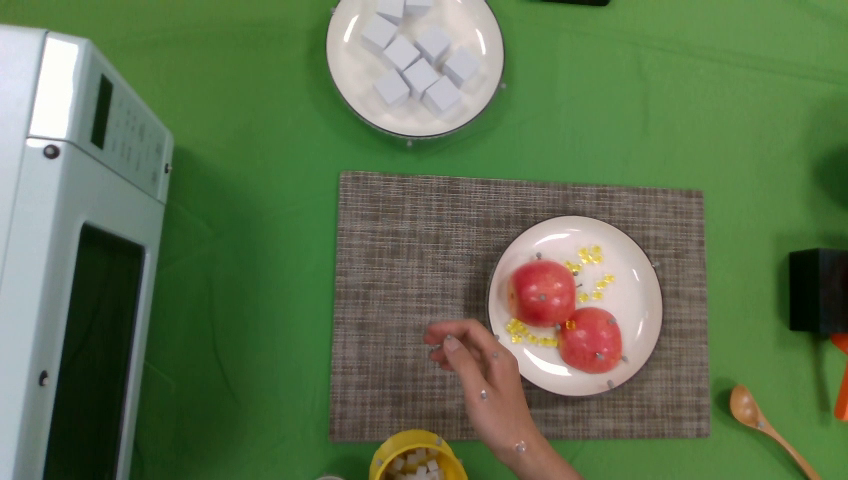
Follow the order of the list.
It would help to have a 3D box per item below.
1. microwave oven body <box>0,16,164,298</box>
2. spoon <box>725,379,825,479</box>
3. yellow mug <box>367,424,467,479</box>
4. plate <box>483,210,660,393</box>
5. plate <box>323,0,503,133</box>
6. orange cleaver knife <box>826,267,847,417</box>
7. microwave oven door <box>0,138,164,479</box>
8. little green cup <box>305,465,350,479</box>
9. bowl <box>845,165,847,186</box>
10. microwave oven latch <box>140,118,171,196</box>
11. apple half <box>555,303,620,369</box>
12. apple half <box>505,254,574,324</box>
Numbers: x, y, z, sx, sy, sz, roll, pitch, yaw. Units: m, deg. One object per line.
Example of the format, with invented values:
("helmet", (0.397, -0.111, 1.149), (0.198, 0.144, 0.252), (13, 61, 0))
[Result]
("microwave oven body", (-0.434, 0.062, 0.502), (0.327, 0.260, 0.440), (5, 84, -8))
("spoon", (0.428, 0.241, 0.730), (0.194, 0.021, 0.041), (45, 62, -1))
("yellow mug", (-0.012, 0.268, 0.641), (0.100, 0.064, 0.130), (14, 85, -7))
("plate", (0.167, 0.069, 0.700), (0.209, 0.038, 0.208), (1, 84, -8))
("plate", (-0.013, -0.223, 0.710), (0.208, 0.039, 0.207), (1, 84, -8))
("orange cleaver knife", (0.513, 0.108, 0.726), (0.012, 0.077, 0.212), (4, 107, -3))
("microwave oven door", (-0.292, 0.117, 0.511), (0.039, 0.244, 0.354), (5, 83, -7))
("little green cup", (-0.103, 0.270, 0.641), (0.061, 0.038, 0.061), (1, 85, -6))
("bowl", (0.594, -0.087, 0.761), (0.152, 0.077, 0.151), (1, 84, -8))
("microwave oven latch", (-0.287, -0.088, 0.637), (0.030, 0.029, 0.079), (8, 83, -8))
("apple half", (0.191, 0.110, 0.692), (0.081, 0.033, 0.081), (1, 80, -8))
("apple half", (0.133, 0.054, 0.681), (0.075, 0.053, 0.080), (0, 84, -6))
